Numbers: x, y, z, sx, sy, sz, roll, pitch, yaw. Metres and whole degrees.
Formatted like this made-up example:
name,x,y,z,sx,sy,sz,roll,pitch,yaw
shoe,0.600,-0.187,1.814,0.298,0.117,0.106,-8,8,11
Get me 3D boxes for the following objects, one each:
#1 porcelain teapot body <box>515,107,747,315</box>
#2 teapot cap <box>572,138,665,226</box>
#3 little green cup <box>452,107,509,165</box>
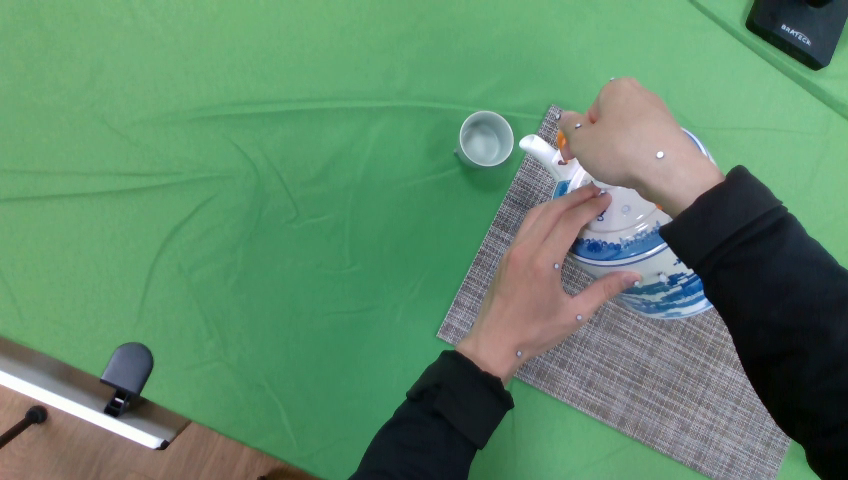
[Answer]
name,x,y,z,sx,sy,sz,roll,pitch,yaw
porcelain teapot body,0.168,-0.044,0.560,0.228,0.203,0.145,35,91,-40
teapot cap,0.160,-0.052,0.510,0.044,0.084,0.085,35,79,-37
little green cup,0.060,-0.112,0.671,0.062,0.038,0.061,1,85,-11
